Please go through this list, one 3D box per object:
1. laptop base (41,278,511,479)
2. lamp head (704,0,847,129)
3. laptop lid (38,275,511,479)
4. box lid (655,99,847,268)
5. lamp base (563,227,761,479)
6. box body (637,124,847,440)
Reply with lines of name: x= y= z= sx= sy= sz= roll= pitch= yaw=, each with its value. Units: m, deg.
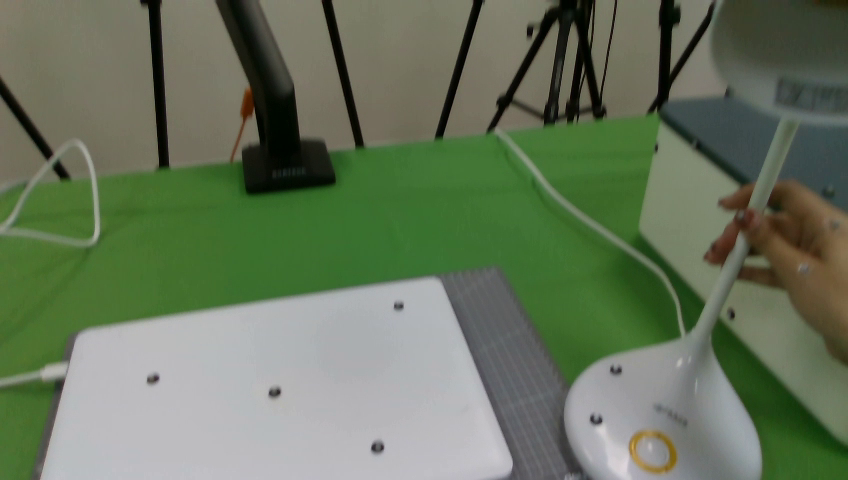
laptop base: x=-0.127 y=0.136 z=0.529 sx=0.355 sy=0.023 sz=0.233 roll=-7 pitch=41 yaw=-13
lamp head: x=0.185 y=-0.123 z=0.257 sx=0.112 sy=0.113 sz=0.122 roll=13 pitch=63 yaw=16
laptop lid: x=-0.126 y=0.128 z=0.519 sx=0.357 sy=0.013 sz=0.239 roll=-6 pitch=39 yaw=-11
box lid: x=0.422 y=-0.058 z=0.572 sx=0.264 sy=0.015 sz=0.367 roll=-8 pitch=38 yaw=-15
lamp base: x=0.206 y=0.086 z=0.473 sx=0.160 sy=0.181 sz=0.178 roll=19 pitch=37 yaw=20
box body: x=0.420 y=0.004 z=0.615 sx=0.255 sy=0.162 sz=0.360 roll=-9 pitch=37 yaw=-14
